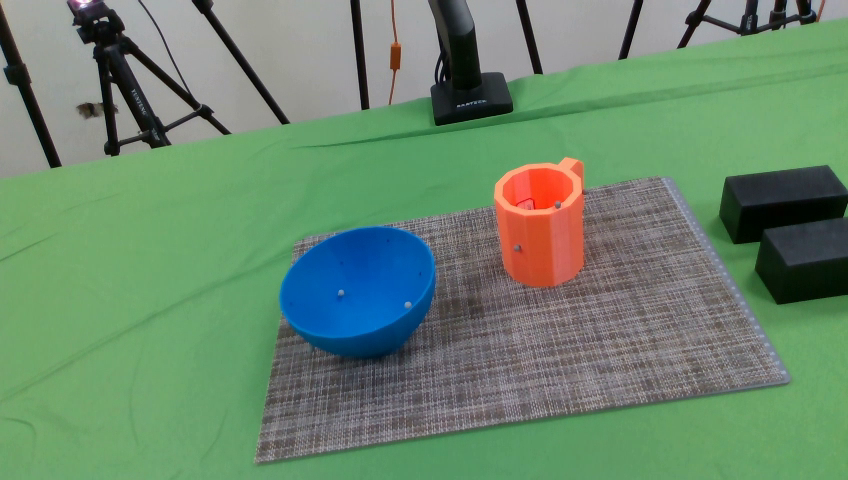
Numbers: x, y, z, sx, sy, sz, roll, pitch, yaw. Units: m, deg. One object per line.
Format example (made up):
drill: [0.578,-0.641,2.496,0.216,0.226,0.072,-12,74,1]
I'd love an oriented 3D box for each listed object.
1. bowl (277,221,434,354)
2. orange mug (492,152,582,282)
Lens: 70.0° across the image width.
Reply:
bowl: [-0.058,0.058,0.591,0.151,0.077,0.150,-8,40,7]
orange mug: [0.128,-0.032,0.628,0.083,0.102,0.126,21,55,34]
